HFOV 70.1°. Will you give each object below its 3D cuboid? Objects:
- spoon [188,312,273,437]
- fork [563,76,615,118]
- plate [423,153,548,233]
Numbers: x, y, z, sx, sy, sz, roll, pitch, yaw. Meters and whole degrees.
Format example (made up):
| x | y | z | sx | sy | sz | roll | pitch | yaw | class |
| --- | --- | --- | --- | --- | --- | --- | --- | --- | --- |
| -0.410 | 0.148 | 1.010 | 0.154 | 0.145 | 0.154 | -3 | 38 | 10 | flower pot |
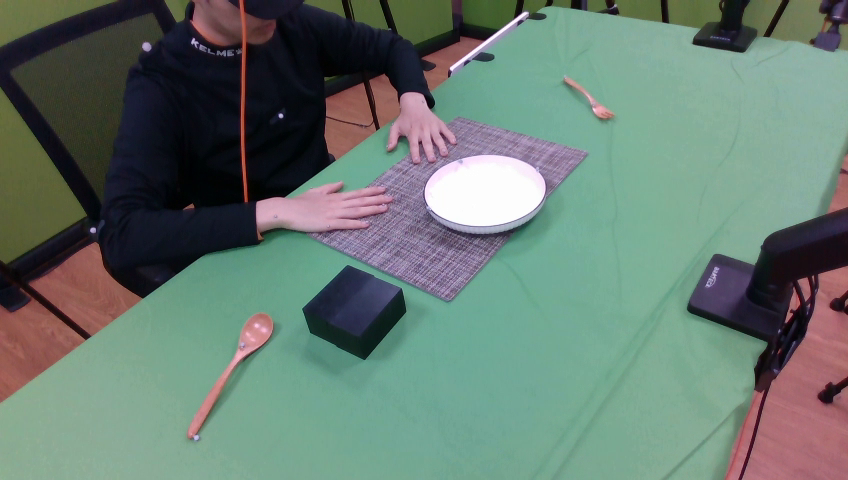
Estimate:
| x | y | z | sx | sy | sz | roll | pitch | yaw | class |
| --- | --- | --- | --- | --- | --- | --- | --- | --- | --- |
| -0.258 | 0.173 | 0.803 | 0.041 | 0.021 | 0.193 | 20 | 45 | 6 | spoon |
| 0.341 | -0.303 | 1.273 | 0.028 | 0.019 | 0.205 | -23 | 43 | -1 | fork |
| 0.104 | -0.076 | 1.024 | 0.209 | 0.038 | 0.208 | -4 | 40 | 4 | plate |
